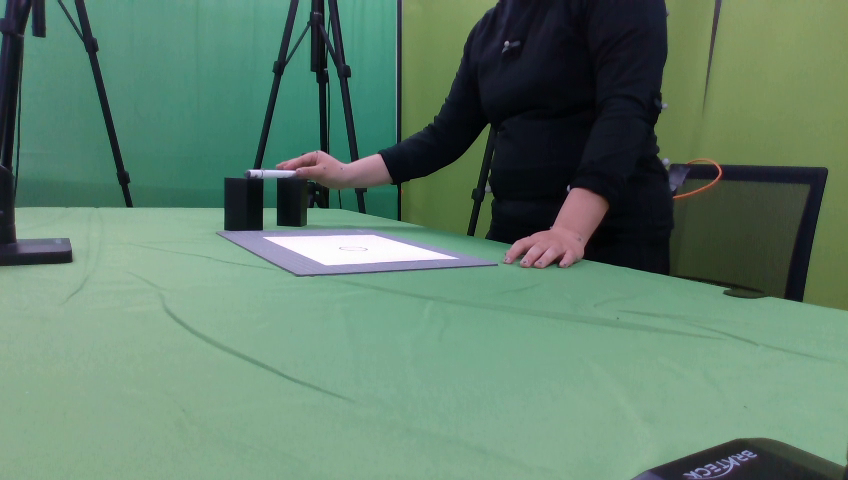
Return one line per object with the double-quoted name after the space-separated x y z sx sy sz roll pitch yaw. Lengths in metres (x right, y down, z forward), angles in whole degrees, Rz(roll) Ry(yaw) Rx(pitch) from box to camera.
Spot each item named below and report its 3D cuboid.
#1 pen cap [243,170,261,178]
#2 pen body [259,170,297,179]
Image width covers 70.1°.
-0.328 -0.126 1.154 0.017 0.017 0.038 6 9 23 "pen cap"
-0.301 -0.132 1.211 0.017 0.017 0.144 6 8 22 "pen body"
